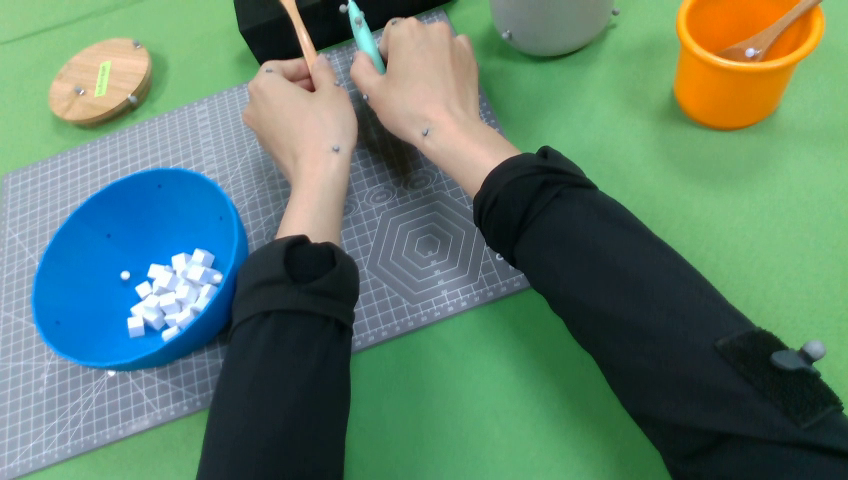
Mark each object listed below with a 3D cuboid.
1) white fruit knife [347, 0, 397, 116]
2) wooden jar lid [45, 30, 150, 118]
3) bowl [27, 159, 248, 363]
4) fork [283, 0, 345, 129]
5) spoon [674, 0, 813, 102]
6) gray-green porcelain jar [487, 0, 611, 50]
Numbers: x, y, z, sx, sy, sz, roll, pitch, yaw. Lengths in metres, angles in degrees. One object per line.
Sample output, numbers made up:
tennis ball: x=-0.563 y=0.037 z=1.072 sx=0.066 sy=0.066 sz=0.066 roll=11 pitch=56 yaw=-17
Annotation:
white fruit knife: x=-0.061 y=-0.199 z=0.524 sx=0.016 sy=0.027 sz=0.206 roll=-20 pitch=71 yaw=-3
wooden jar lid: x=-0.321 y=-0.163 z=0.602 sx=0.108 sy=0.021 sz=0.107 roll=-4 pitch=62 yaw=8
bowl: x=-0.188 y=0.025 z=0.437 sx=0.151 sy=0.077 sz=0.150 roll=-5 pitch=62 yaw=10
fork: x=-0.107 y=-0.186 z=0.518 sx=0.028 sy=0.019 sz=0.206 roll=-21 pitch=76 yaw=-4
spoon: x=0.253 y=-0.158 z=0.401 sx=0.022 sy=0.194 sz=0.041 roll=7 pitch=58 yaw=-35
gray-green porcelain jar: x=0.099 y=-0.227 z=0.483 sx=0.106 sy=0.128 sz=0.105 roll=-5 pitch=61 yaw=10
